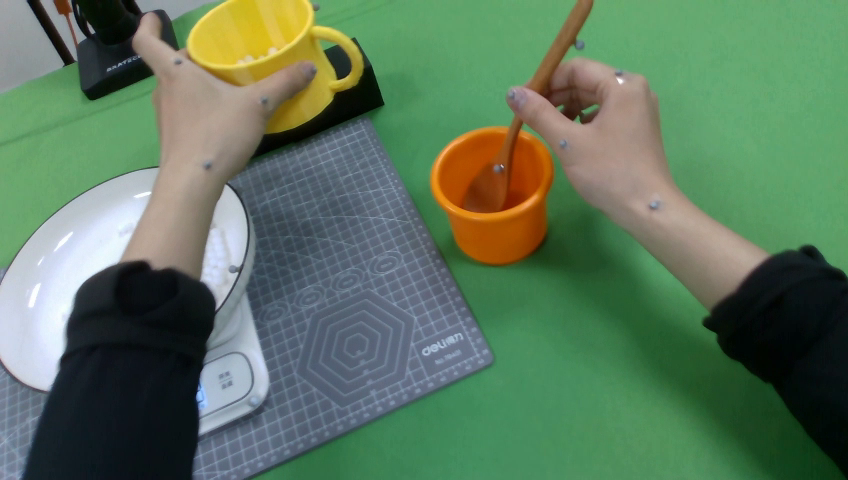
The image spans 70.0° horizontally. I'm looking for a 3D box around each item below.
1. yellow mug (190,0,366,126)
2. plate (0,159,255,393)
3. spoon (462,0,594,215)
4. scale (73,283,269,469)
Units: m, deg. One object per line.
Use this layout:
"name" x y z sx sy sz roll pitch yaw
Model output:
"yellow mug" -0.110 -0.149 0.481 0.130 0.064 0.099 0 53 11
"plate" -0.230 0.025 0.479 0.209 0.038 0.207 -5 55 8
"spoon" 0.071 -0.090 0.439 0.022 0.195 0.041 -8 54 -28
"scale" -0.214 0.064 0.488 0.149 0.032 0.198 -24 55 -4
